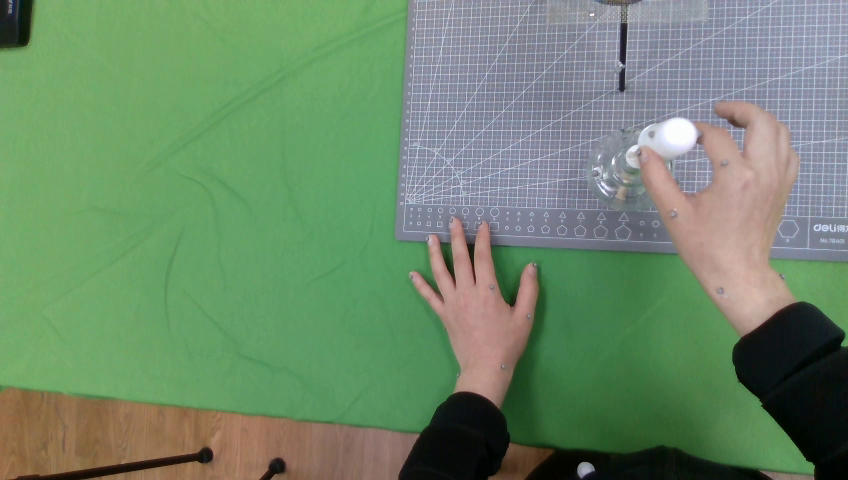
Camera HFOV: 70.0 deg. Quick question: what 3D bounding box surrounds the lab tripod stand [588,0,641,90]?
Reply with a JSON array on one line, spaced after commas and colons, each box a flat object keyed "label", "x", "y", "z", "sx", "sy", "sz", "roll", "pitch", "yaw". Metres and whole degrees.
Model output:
[{"label": "lab tripod stand", "x": 0.174, "y": -0.226, "z": 0.548, "sx": 0.148, "sy": 0.132, "sz": 0.148, "roll": 0, "pitch": 88, "yaw": 12}]

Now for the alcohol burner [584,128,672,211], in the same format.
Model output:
[{"label": "alcohol burner", "x": 0.186, "y": -0.066, "z": 0.547, "sx": 0.078, "sy": 0.119, "sz": 0.078, "roll": -1, "pitch": 86, "yaw": 12}]

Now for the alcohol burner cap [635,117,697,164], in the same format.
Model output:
[{"label": "alcohol burner cap", "x": 0.184, "y": -0.077, "z": 0.455, "sx": 0.034, "sy": 0.048, "sz": 0.034, "roll": 0, "pitch": 88, "yaw": -5}]

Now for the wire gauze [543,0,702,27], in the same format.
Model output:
[{"label": "wire gauze", "x": 0.158, "y": -0.231, "z": 0.485, "sx": 0.125, "sy": 0.011, "sz": 0.121, "roll": 2, "pitch": 91, "yaw": 11}]
